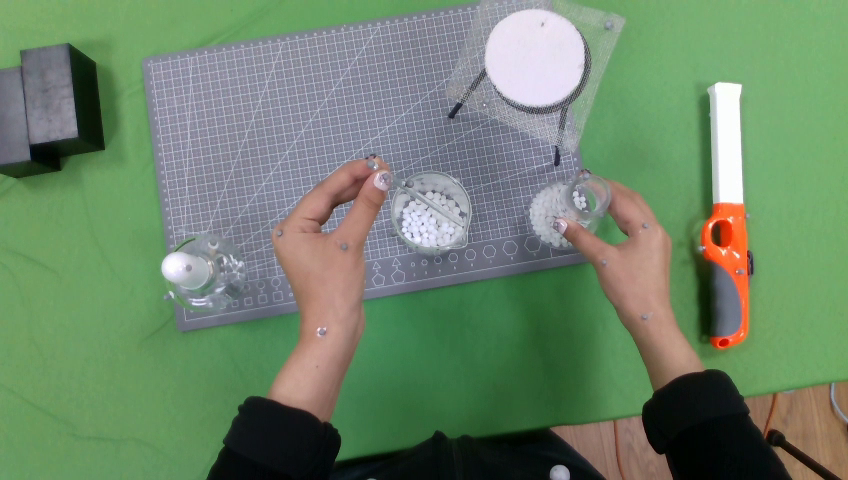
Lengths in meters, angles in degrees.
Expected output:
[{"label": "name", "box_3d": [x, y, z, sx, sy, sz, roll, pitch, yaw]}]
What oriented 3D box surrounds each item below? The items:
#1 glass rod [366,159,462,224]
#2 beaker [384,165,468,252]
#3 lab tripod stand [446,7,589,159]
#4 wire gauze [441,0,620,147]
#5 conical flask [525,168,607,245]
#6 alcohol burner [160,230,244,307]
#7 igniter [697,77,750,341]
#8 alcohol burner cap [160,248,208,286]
[{"label": "glass rod", "box_3d": [-0.001, -0.036, 0.523, 0.008, 0.201, 0.008, -5, 77, 22]}, {"label": "beaker", "box_3d": [0.006, -0.025, 0.595, 0.084, 0.100, 0.074, 44, 87, 3]}, {"label": "lab tripod stand", "box_3d": [0.095, -0.151, 0.588, 0.148, 0.131, 0.148, 0, 87, 2]}, {"label": "wire gauze", "box_3d": [0.092, -0.158, 0.521, 0.125, 0.011, 0.121, 22, 88, 3]}, {"label": "conical flask", "box_3d": [0.142, -0.038, 0.584, 0.075, 0.122, 0.075, 0, 85, 1]}, {"label": "alcohol burner", "box_3d": [-0.219, 0.027, 0.585, 0.078, 0.119, 0.078, 0, 86, 2]}, {"label": "igniter", "box_3d": [0.312, -0.033, 0.633, 0.057, 0.025, 0.276, 2, 85, -10]}, {"label": "alcohol burner cap", "box_3d": [-0.220, 0.022, 0.549, 0.034, 0.048, 0.033, 0, 78, -1]}]
